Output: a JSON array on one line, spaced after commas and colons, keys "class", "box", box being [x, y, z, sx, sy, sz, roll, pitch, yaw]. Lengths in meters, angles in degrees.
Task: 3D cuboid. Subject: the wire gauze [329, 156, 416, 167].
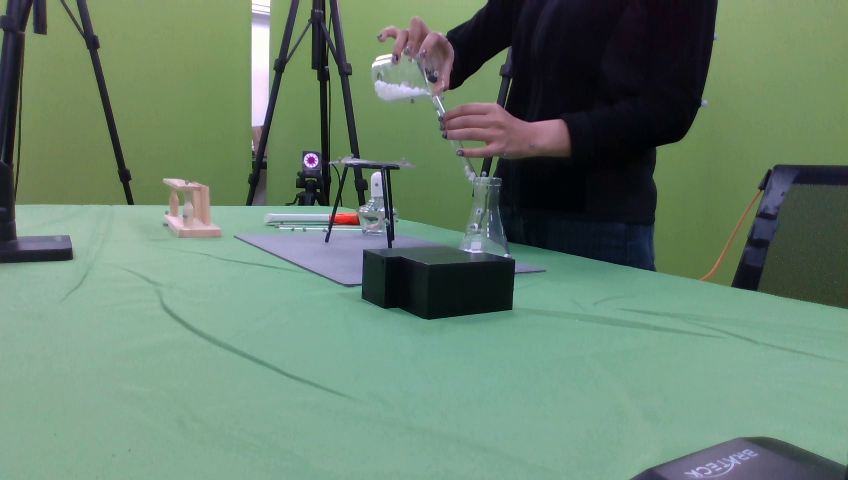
[{"class": "wire gauze", "box": [-0.079, -0.126, 0.972, 0.121, 0.011, 0.125, 4, 8, 5]}]

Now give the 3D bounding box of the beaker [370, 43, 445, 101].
[{"class": "beaker", "box": [-0.027, -0.258, 0.952, 0.100, 0.084, 0.074, -3, 1, 28]}]

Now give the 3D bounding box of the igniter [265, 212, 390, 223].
[{"class": "igniter", "box": [-0.195, -0.048, 1.285, 0.278, 0.025, 0.057, -2, -2, -30]}]

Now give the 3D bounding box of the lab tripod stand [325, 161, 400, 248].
[{"class": "lab tripod stand", "box": [-0.083, -0.059, 0.977, 0.148, 0.131, 0.148, 4, 8, 0]}]

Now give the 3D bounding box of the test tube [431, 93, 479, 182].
[{"class": "test tube", "box": [0.047, -0.156, 0.924, 0.017, 0.150, 0.017, -25, -6, -2]}]

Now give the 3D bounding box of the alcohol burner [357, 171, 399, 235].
[{"class": "alcohol burner", "box": [-0.085, -0.069, 1.125, 0.078, 0.119, 0.078, 3, 10, 0]}]

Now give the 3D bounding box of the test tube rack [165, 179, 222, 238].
[{"class": "test tube rack", "box": [-0.423, -0.062, 1.098, 0.067, 0.085, 0.241, -2, 9, -28]}]

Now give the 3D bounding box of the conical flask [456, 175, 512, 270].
[{"class": "conical flask", "box": [0.082, -0.025, 0.801, 0.075, 0.122, 0.075, 2, 7, 0]}]

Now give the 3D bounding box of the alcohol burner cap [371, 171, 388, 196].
[{"class": "alcohol burner cap", "box": [-0.085, -0.104, 1.120, 0.034, 0.048, 0.034, -5, 8, 1]}]

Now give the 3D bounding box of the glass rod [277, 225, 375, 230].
[{"class": "glass rod", "box": [-0.187, -0.024, 1.178, 0.201, 0.008, 0.008, 1, 6, -31]}]
